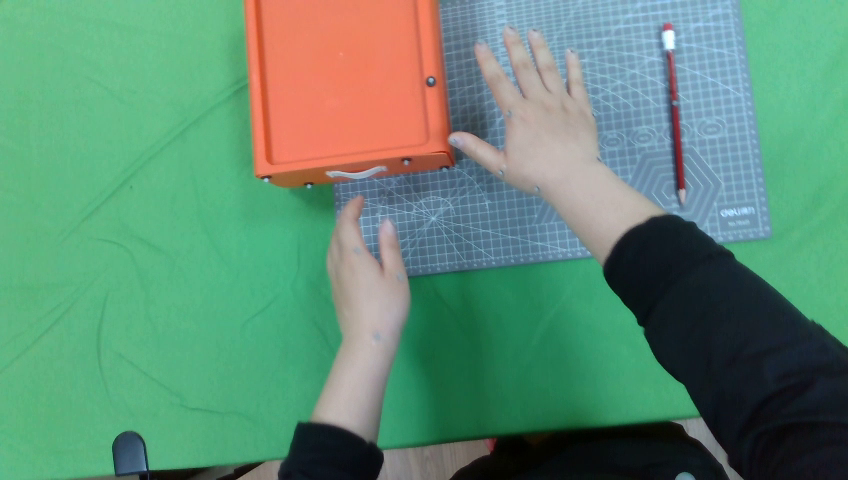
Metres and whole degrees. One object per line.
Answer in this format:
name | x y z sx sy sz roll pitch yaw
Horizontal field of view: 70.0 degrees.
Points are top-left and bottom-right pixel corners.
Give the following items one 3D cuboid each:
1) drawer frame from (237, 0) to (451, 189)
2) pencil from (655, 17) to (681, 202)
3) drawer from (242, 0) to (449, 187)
drawer frame | -0.085 -0.173 0.640 0.201 0.083 0.213 -8 84 8
pencil | 0.255 -0.136 0.628 0.012 0.012 0.193 -5 88 8
drawer | -0.083 -0.171 0.641 0.194 0.073 0.211 -7 84 8
